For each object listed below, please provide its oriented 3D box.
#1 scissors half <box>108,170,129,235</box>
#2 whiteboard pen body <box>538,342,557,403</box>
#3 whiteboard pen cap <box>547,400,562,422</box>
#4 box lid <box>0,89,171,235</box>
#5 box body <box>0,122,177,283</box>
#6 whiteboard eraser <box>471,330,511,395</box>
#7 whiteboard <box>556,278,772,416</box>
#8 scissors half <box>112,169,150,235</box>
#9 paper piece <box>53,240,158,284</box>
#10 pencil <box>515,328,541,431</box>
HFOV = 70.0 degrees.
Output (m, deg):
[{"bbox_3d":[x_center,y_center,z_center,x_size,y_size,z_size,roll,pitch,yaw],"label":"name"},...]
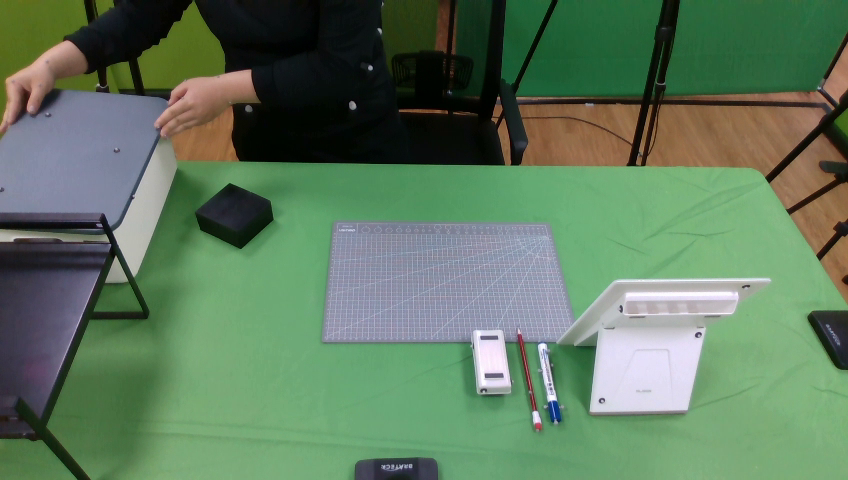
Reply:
[{"bbox_3d":[-0.617,-0.077,1.223,0.040,0.013,0.174,-14,54,-9],"label":"scissors half"},{"bbox_3d":[0.205,0.228,0.997,0.017,0.017,0.140,1,46,-3],"label":"whiteboard pen body"},{"bbox_3d":[0.205,0.269,0.956,0.018,0.018,0.033,0,47,-5],"label":"whiteboard pen cap"},{"bbox_3d":[-0.626,-0.150,1.077,0.263,0.015,0.369,3,47,-6],"label":"box lid"},{"bbox_3d":[-0.640,-0.096,1.141,0.254,0.161,0.361,1,46,-4],"label":"box body"},{"bbox_3d":[0.110,0.202,0.998,0.055,0.042,0.112,1,46,-5],"label":"whiteboard eraser"},{"bbox_3d":[0.347,0.174,0.903,0.217,0.306,0.143,1,65,-4],"label":"whiteboard"},{"bbox_3d":[-0.596,-0.077,1.225,0.040,0.013,0.174,7,53,1],"label":"scissors half"},{"bbox_3d":[-0.593,0.037,1.135,0.136,0.009,0.137,3,33,7],"label":"paper piece"},{"bbox_3d":[0.169,0.224,1.002,0.012,0.012,0.192,-1,46,-6],"label":"pencil"}]
